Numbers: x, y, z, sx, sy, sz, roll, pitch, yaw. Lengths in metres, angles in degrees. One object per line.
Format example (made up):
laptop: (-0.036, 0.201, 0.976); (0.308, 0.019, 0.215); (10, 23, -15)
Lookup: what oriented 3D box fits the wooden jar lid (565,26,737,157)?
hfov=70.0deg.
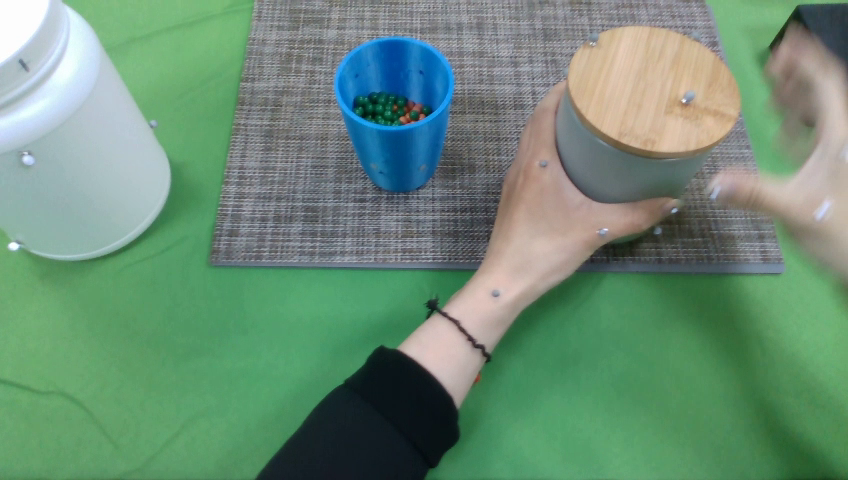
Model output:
wooden jar lid: (0.143, -0.094, 0.390); (0.108, 0.021, 0.107); (1, 59, -1)

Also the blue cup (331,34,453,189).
blue cup: (-0.022, -0.090, 0.467); (0.092, 0.101, 0.092); (0, 63, 0)

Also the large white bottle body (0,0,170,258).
large white bottle body: (-0.268, -0.082, 0.411); (0.131, 0.186, 0.129); (1, 63, -1)

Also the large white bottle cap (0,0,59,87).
large white bottle cap: (-0.267, -0.122, 0.337); (0.115, 0.018, 0.114); (1, 62, -1)

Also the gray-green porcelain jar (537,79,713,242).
gray-green porcelain jar: (0.142, -0.066, 0.445); (0.106, 0.127, 0.105); (1, 62, -1)
